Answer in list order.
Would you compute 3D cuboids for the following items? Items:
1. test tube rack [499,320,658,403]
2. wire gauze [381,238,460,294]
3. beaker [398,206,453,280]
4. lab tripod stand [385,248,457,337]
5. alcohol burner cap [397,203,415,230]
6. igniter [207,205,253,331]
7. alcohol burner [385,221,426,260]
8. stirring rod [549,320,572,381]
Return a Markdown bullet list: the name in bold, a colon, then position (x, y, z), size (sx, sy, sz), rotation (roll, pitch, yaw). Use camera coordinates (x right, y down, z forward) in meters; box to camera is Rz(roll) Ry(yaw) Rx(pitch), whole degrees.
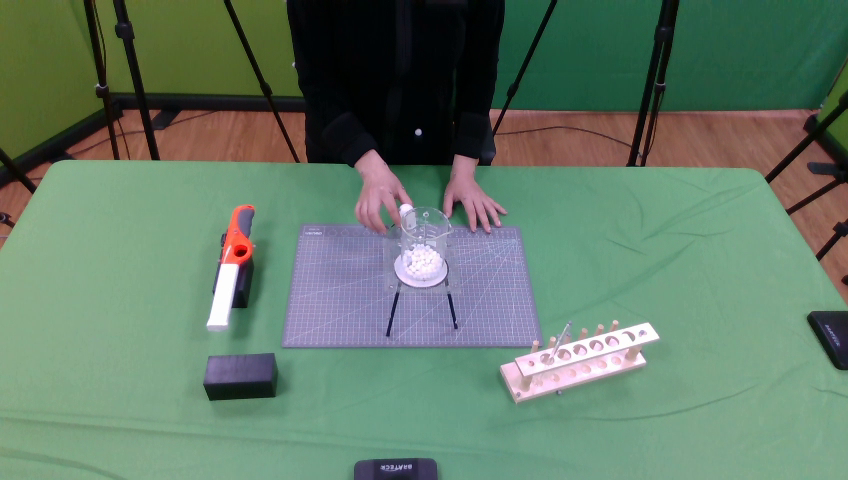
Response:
- **test tube rack**: position (0.252, 0.187, 0.994), size (0.243, 0.085, 0.066), rotation (-12, 48, -15)
- **wire gauze**: position (-0.007, 0.042, 0.985), size (0.125, 0.011, 0.120), rotation (-1, 43, -2)
- **beaker**: position (0.000, 0.008, 0.950), size (0.084, 0.101, 0.073), rotation (10, 45, 6)
- **lab tripod stand**: position (-0.010, 0.087, 1.032), size (0.148, 0.132, 0.147), rotation (1, 45, -1)
- **alcohol burner cap**: position (-0.034, -0.046, 1.120), size (0.034, 0.048, 0.033), rotation (-1, 44, 1)
- **igniter**: position (-0.339, 0.038, 1.066), size (0.057, 0.025, 0.274), rotation (2, 48, -6)
- **alcohol burner**: position (-0.035, -0.020, 1.147), size (0.078, 0.120, 0.077), rotation (1, 46, -1)
- **stirring rod**: position (0.202, 0.167, 0.901), size (0.006, 0.177, 0.014), rotation (-17, 54, -11)
